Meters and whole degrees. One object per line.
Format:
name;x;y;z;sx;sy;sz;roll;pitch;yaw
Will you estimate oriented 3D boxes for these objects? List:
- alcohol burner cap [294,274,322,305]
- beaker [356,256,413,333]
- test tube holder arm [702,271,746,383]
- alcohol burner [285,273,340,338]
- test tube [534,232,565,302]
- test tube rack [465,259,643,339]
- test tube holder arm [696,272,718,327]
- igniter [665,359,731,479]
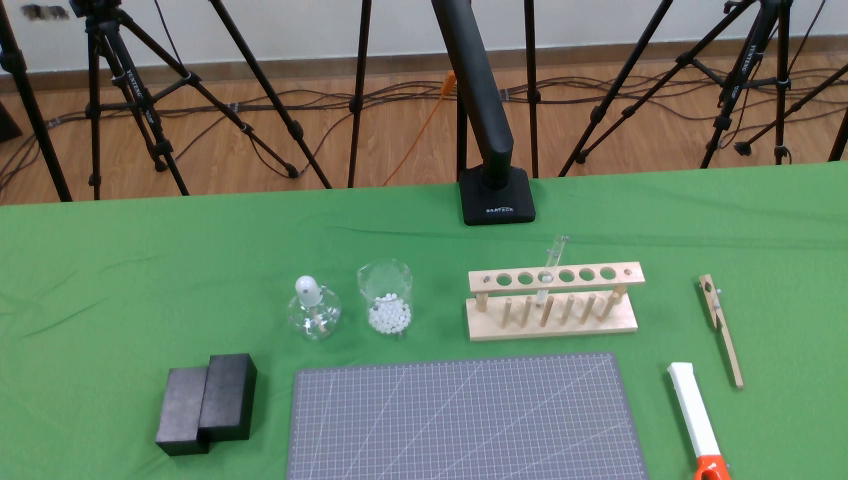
alcohol burner cap;-0.159;0.064;0.822;0.034;0.048;0.033;-1;59;3
beaker;-0.055;0.080;0.864;0.083;0.101;0.073;20;55;16
test tube holder arm;0.431;0.122;0.875;0.013;0.015;0.176;-24;48;26
alcohol burner;-0.159;0.086;0.851;0.078;0.120;0.077;-1;51;1
test tube;0.171;0.041;0.837;0.017;0.151;0.017;2;51;-2
test tube rack;0.183;0.085;0.866;0.242;0.086;0.066;-4;53;-2
test tube holder arm;0.425;0.088;0.904;0.010;0.015;0.087;-23;48;27
igniter;0.356;0.276;0.756;0.057;0.025;0.273;3;52;-9
